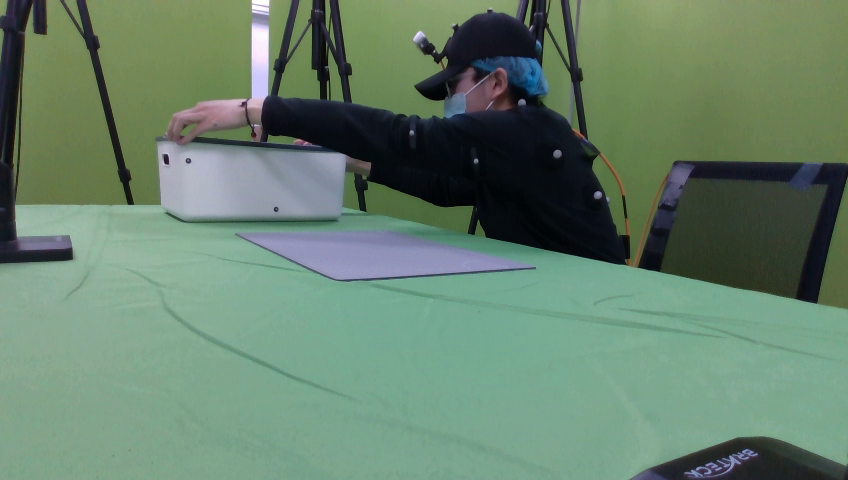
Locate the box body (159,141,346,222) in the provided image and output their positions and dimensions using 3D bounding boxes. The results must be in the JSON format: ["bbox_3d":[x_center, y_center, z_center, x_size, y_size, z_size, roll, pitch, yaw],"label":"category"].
[{"bbox_3d":[-0.385,-0.133,1.359,0.366,0.160,0.253,-2,9,-33],"label":"box body"}]

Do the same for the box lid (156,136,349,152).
[{"bbox_3d":[-0.379,-0.211,1.349,0.373,0.015,0.262,-2,9,-33],"label":"box lid"}]
